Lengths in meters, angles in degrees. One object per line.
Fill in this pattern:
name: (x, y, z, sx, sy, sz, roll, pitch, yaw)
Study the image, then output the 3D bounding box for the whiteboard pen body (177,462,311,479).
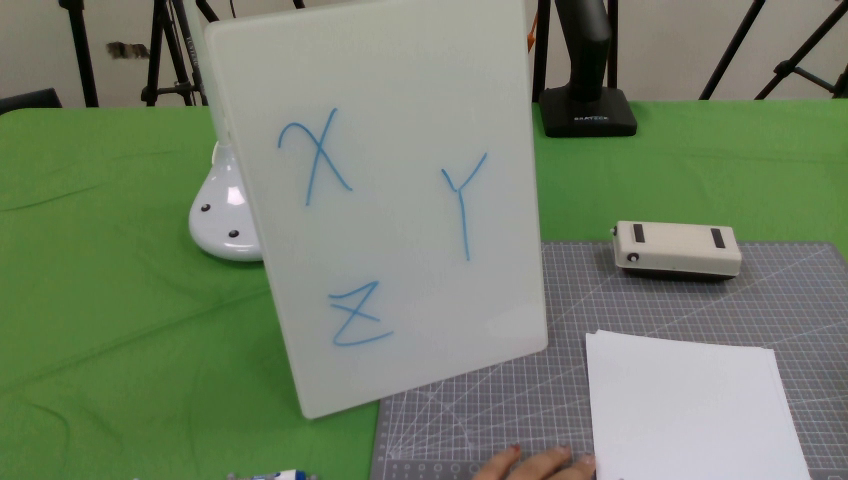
whiteboard pen body: (-0.154, 0.179, 0.440, 0.141, 0.017, 0.017, -7, 40, -4)

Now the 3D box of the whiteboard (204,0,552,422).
whiteboard: (-0.030, -0.041, 0.513, 0.217, 0.307, 0.142, -13, 22, -11)

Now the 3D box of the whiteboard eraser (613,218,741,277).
whiteboard eraser: (0.246, 0.008, 0.597, 0.112, 0.042, 0.055, 4, 42, 8)

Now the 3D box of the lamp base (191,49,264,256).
lamp base: (-0.193, -0.101, 0.643, 0.177, 0.182, 0.160, 30, 50, 35)
